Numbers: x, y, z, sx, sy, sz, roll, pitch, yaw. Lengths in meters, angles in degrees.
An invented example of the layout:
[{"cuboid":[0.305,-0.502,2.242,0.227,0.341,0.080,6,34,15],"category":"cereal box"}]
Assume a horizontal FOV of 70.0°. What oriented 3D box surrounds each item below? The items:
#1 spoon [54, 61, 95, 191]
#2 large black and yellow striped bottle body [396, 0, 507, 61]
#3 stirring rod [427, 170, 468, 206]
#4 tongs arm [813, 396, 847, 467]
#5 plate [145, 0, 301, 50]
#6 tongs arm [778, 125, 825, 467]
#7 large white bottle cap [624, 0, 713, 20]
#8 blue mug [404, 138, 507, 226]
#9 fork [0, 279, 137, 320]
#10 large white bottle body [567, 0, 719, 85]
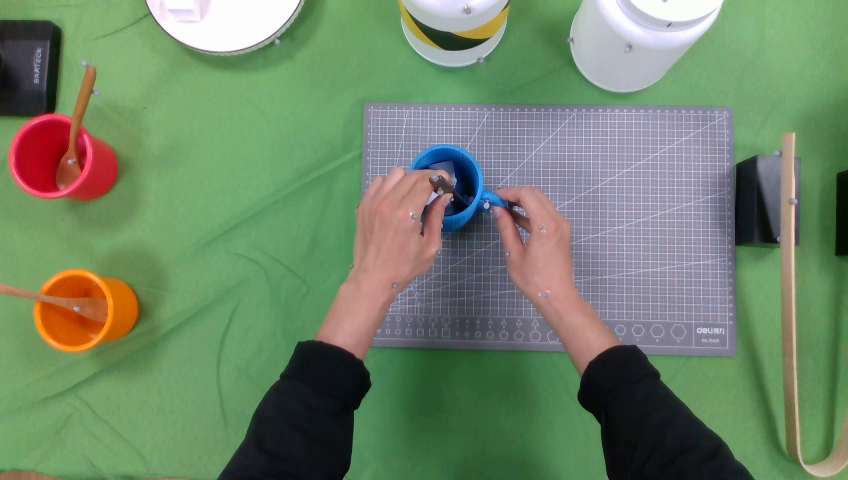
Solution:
[{"cuboid":[-0.394,-0.124,0.686,0.041,0.021,0.194,47,132,7],"category":"spoon"},{"cuboid":[0.030,-0.291,0.664,0.131,0.184,0.130,0,85,2],"category":"large black and yellow striped bottle body"},{"cuboid":[0.029,-0.051,0.631,0.014,0.177,0.006,-19,80,11],"category":"stirring rod"},{"cuboid":[0.501,0.069,0.670,0.028,0.027,0.388,9,98,-6],"category":"tongs arm"},{"cuboid":[-0.243,-0.333,0.748,0.207,0.039,0.207,0,87,2],"category":"plate"},{"cuboid":[0.419,0.066,0.670,0.051,0.026,0.385,-4,98,-1],"category":"tongs arm"},{"cuboid":[0.233,-0.266,0.572,0.115,0.018,0.114,0,86,1],"category":"large white bottle cap"},{"cuboid":[0.038,-0.058,0.686,0.116,0.106,0.082,16,86,2],"category":"blue mug"},{"cuboid":[-0.427,0.058,0.672,0.209,0.018,0.028,22,86,-40],"category":"fork"},{"cuboid":[0.236,-0.259,0.656,0.130,0.185,0.130,0,86,2],"category":"large white bottle body"}]
